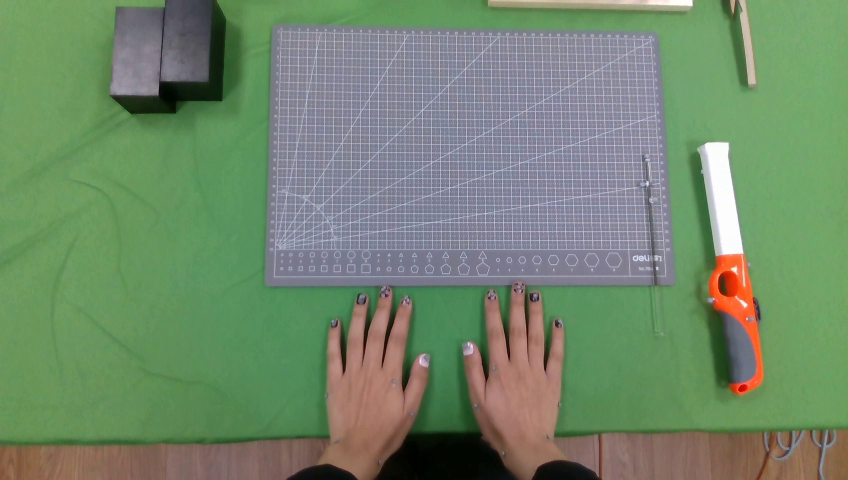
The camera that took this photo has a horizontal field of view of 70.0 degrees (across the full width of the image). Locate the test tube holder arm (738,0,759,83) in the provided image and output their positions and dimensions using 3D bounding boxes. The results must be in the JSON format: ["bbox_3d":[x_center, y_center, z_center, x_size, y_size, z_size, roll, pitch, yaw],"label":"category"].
[{"bbox_3d":[0.377,-0.273,0.720,0.013,0.015,0.178,-13,81,31],"label":"test tube holder arm"}]

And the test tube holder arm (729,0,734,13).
[{"bbox_3d":[0.367,-0.317,0.729,0.010,0.015,0.087,-12,81,32],"label":"test tube holder arm"}]

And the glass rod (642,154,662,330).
[{"bbox_3d":[0.253,0.001,0.676,0.008,0.008,0.199,-1,81,-3],"label":"glass rod"}]

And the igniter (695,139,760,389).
[{"bbox_3d":[0.335,0.023,0.671,0.057,0.025,0.275,-2,81,-13],"label":"igniter"}]

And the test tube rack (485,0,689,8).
[{"bbox_3d":[0.195,-0.317,0.685,0.242,0.085,0.066,0,81,-3],"label":"test tube rack"}]
